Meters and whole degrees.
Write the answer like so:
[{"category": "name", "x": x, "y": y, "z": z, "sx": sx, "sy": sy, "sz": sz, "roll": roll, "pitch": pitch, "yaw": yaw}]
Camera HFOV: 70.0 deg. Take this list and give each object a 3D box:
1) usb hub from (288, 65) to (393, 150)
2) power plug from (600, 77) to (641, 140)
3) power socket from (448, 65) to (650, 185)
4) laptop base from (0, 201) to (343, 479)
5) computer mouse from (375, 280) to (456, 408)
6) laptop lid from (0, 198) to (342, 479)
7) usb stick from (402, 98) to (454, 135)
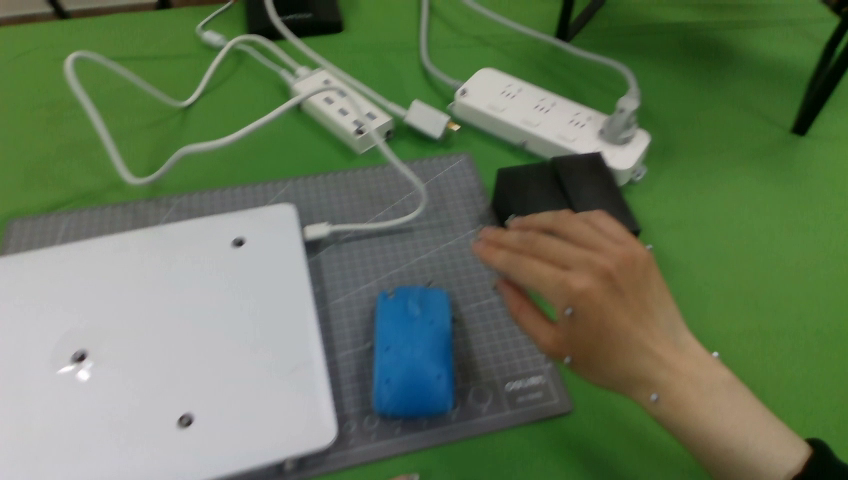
[{"category": "usb hub", "x": -0.094, "y": -0.148, "z": 0.668, "sx": 0.049, "sy": 0.025, "sz": 0.124, "roll": -36, "pitch": 60, "yaw": -27}, {"category": "power plug", "x": 0.212, "y": -0.128, "z": 0.629, "sx": 0.035, "sy": 0.053, "sz": 0.072, "roll": 37, "pitch": 60, "yaw": 26}, {"category": "power socket", "x": 0.134, "y": -0.128, "z": 0.655, "sx": 0.225, "sy": 0.033, "sz": 0.072, "roll": 28, "pitch": 55, "yaw": 20}, {"category": "laptop base", "x": -0.258, "y": 0.090, "z": 0.475, "sx": 0.355, "sy": 0.023, "sz": 0.233, "roll": -12, "pitch": 56, "yaw": -11}, {"category": "computer mouse", "x": -0.007, "y": 0.076, "z": 0.479, "sx": 0.063, "sy": 0.041, "sz": 0.116, "roll": -1, "pitch": 47, "yaw": 0}, {"category": "laptop lid", "x": -0.257, "y": 0.084, "z": 0.464, "sx": 0.357, "sy": 0.013, "sz": 0.239, "roll": -11, "pitch": 55, "yaw": -10}, {"category": "usb stick", "x": 0.007, "y": -0.131, "z": 0.655, "sx": 0.059, "sy": 0.021, "sz": 0.027, "roll": 21, "pitch": 97, "yaw": -6}]
